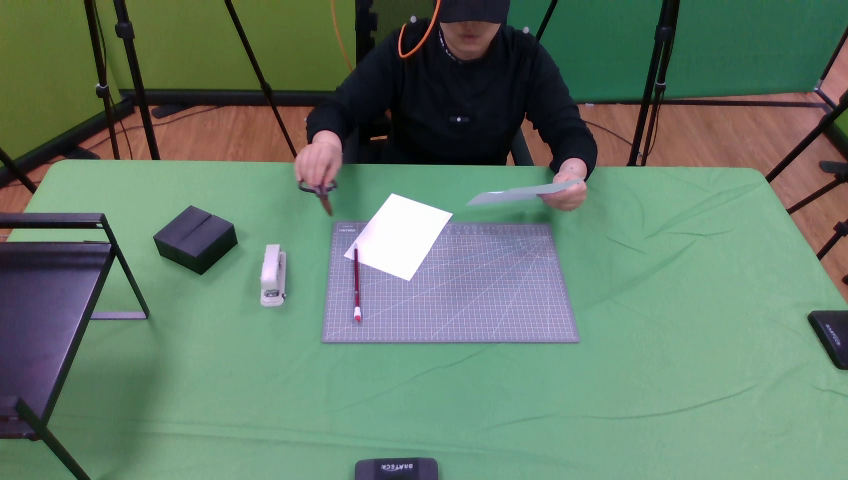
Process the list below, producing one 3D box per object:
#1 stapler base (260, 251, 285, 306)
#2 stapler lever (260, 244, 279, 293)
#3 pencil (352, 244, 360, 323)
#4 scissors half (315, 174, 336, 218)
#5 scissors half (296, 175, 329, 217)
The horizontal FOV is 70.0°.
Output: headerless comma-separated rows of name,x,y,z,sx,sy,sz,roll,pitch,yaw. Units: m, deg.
stapler base,-0.279,0.064,1.113,0.041,0.024,0.129,-2,44,-9
stapler lever,-0.279,0.045,1.096,0.027,0.040,0.117,-2,44,-9
pencil,-0.127,0.075,1.119,0.012,0.012,0.192,-2,44,-7
scissors half,-0.183,-0.083,1.129,0.040,0.013,0.174,1,31,-10
scissors half,-0.203,-0.081,1.124,0.040,0.013,0.174,-14,34,-22
